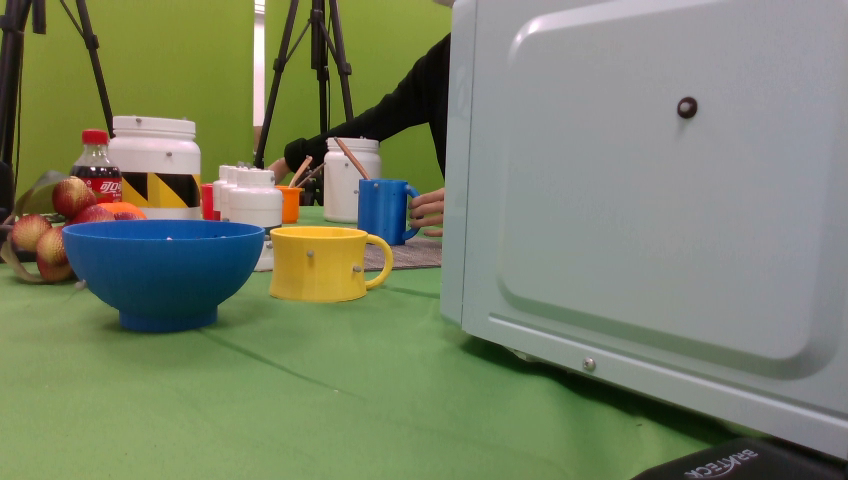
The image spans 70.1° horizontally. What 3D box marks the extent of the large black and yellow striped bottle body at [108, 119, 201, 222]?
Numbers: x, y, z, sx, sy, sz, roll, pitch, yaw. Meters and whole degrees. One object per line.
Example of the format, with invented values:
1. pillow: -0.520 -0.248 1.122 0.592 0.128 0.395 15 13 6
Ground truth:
1. large black and yellow striped bottle body: -0.412 -0.088 0.930 0.131 0.184 0.130 3 7 0

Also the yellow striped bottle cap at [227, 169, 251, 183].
1. yellow striped bottle cap: -0.243 -0.087 0.818 0.044 0.018 0.044 3 6 0

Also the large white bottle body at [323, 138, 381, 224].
1. large white bottle body: -0.163 -0.135 1.368 0.131 0.184 0.130 2 7 0

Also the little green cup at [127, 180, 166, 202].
1. little green cup: -0.485 -0.087 1.062 0.061 0.038 0.061 0 7 0

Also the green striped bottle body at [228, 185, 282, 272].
1. green striped bottle body: -0.208 -0.023 0.745 0.063 0.119 0.063 2 7 0

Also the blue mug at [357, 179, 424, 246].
1. blue mug: -0.055 -0.046 1.005 0.116 0.106 0.082 6 8 20

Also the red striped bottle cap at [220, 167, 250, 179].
1. red striped bottle cap: -0.281 -0.100 0.901 0.044 0.017 0.044 -1 5 0

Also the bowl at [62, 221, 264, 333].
1. bowl: -0.209 0.029 0.496 0.151 0.077 0.151 2 7 0

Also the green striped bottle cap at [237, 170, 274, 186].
1. green striped bottle cap: -0.205 -0.075 0.737 0.044 0.020 0.044 2 5 0

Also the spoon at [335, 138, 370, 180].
1. spoon: -0.095 -0.094 1.017 0.021 0.193 0.042 -32 -4 20

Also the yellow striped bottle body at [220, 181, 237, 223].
1. yellow striped bottle body: -0.246 -0.036 0.825 0.063 0.120 0.063 3 8 0

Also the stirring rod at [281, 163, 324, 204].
1. stirring rod: -0.278 -0.105 1.293 0.176 0.006 0.014 -46 24 -18

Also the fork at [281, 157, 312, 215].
1. fork: -0.290 -0.116 1.321 0.028 0.018 0.207 7 52 18

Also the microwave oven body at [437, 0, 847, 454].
1. microwave oven body: 0.279 -0.040 0.464 0.444 0.260 0.324 -3 9 -41

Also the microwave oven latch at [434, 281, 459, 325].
1. microwave oven latch: 0.044 0.045 0.470 0.079 0.029 0.030 -2 8 -39

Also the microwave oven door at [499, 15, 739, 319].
1. microwave oven door: 0.216 -0.065 0.602 0.358 0.243 0.039 -4 11 -41

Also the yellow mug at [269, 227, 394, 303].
1. yellow mug: -0.094 0.023 0.629 0.131 0.064 0.099 0 7 -22

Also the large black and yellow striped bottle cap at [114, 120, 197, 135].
1. large black and yellow striped bottle cap: -0.407 -0.171 0.920 0.115 0.019 0.115 2 9 0

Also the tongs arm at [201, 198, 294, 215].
1. tongs arm: -0.423 -0.084 1.472 0.050 0.026 0.386 1 6 22

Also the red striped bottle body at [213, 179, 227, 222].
1. red striped bottle body: -0.284 -0.048 0.909 0.063 0.119 0.063 3 10 0

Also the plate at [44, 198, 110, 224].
1. plate: -0.617 -0.056 1.179 0.209 0.038 0.209 3 7 0

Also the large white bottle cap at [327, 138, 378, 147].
1. large white bottle cap: -0.160 -0.218 1.357 0.115 0.018 0.115 2 7 0

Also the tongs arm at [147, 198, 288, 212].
1. tongs arm: -0.503 -0.090 1.513 0.028 0.028 0.389 -1 3 38
